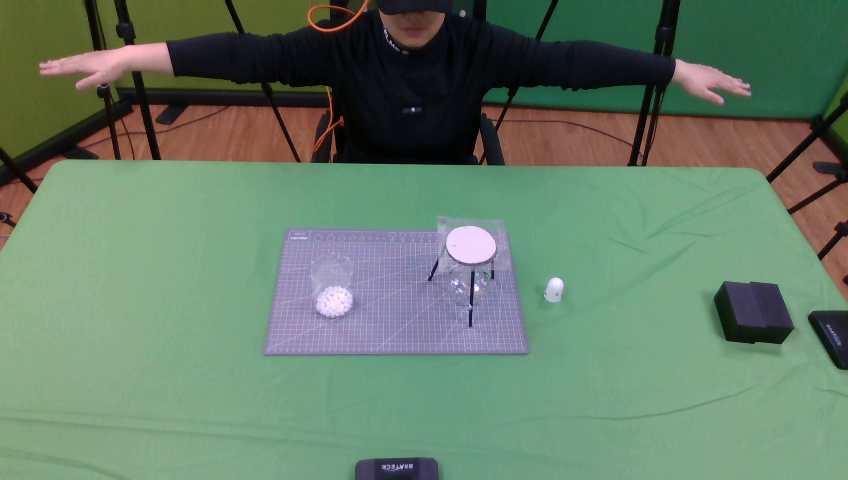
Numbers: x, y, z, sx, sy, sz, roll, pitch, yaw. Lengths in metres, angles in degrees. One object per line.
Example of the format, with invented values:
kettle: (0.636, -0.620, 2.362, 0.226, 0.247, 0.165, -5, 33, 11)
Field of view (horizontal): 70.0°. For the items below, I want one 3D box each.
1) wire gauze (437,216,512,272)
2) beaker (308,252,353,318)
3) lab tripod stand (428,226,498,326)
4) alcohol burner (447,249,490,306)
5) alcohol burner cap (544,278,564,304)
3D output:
wire gauze: (0.083, 0.006, 1.025, 0.121, 0.011, 0.124, 2, 47, -4)
beaker: (-0.159, 0.080, 1.052, 0.074, 0.101, 0.083, 11, 45, 6)
lab tripod stand: (0.079, 0.056, 1.070, 0.148, 0.132, 0.147, 3, 47, -3)
alcohol burner: (0.079, 0.062, 1.078, 0.078, 0.120, 0.077, 1, 45, -1)
alcohol burner cap: (0.241, 0.090, 1.117, 0.034, 0.048, 0.033, 1, 45, -1)
